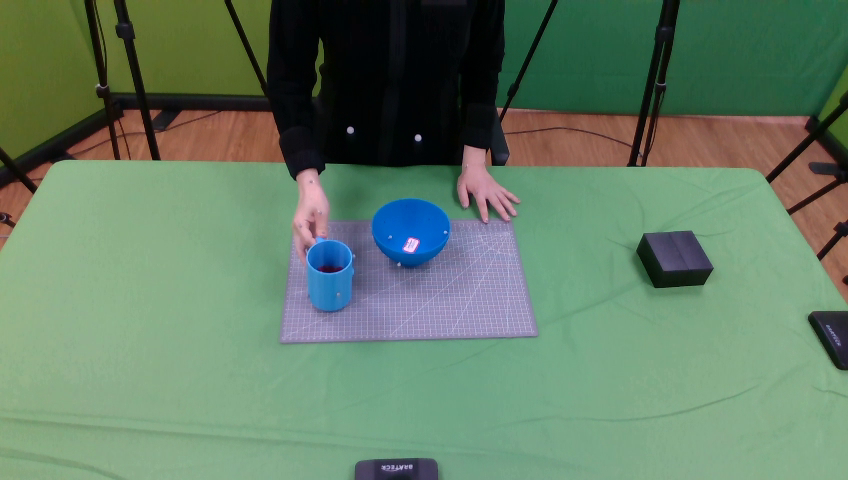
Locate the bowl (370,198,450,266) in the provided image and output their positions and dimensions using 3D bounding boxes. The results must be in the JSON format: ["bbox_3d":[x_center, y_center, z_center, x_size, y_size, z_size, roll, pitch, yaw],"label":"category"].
[{"bbox_3d":[-0.028,-0.003,1.156,0.151,0.077,0.150,2,46,-2],"label":"bowl"}]

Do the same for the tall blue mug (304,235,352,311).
[{"bbox_3d":[-0.177,0.052,1.051,0.107,0.108,0.077,35,54,20],"label":"tall blue mug"}]
